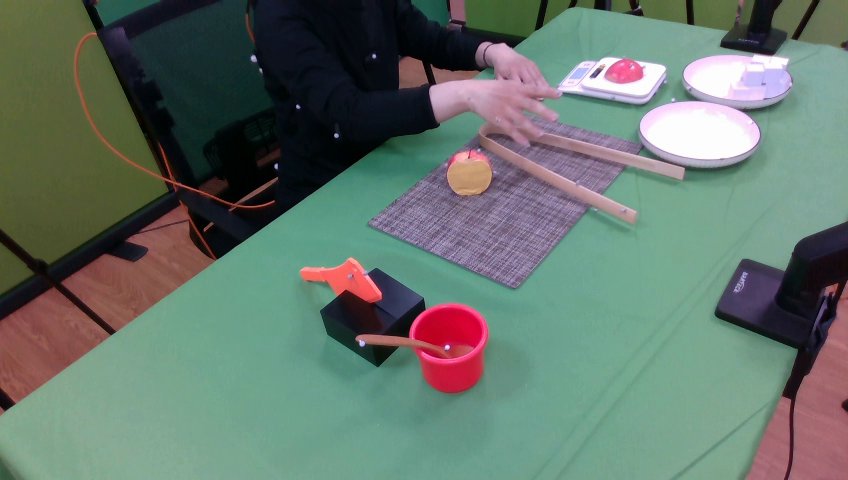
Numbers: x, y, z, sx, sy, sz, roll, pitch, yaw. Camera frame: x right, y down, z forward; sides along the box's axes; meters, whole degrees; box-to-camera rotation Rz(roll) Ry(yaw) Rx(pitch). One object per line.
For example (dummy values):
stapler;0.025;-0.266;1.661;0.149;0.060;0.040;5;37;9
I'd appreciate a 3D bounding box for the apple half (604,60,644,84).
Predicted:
apple half;0.424;-0.362;1.282;0.081;0.033;0.081;-3;40;3

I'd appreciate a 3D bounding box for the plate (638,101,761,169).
plate;0.500;-0.189;1.111;0.209;0.038;0.208;-4;41;4

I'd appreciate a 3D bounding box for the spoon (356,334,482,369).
spoon;-0.001;0.130;0.731;0.195;0.021;0.041;21;28;-39

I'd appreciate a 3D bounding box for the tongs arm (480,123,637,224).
tongs arm;0.228;-0.128;1.080;0.051;0.026;0.381;-33;46;-26

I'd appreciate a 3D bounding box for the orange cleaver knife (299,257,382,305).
orange cleaver knife;-0.124;0.061;0.872;0.012;0.077;0.210;-38;17;-30

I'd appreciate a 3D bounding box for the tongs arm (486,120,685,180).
tongs arm;0.287;-0.171;1.123;0.384;0.028;0.028;21;52;29

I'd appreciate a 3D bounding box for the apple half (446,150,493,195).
apple half;0.080;-0.124;1.065;0.081;0.075;0.053;-7;37;6

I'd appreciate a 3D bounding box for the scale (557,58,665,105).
scale;0.406;-0.348;1.314;0.199;0.032;0.149;19;47;28

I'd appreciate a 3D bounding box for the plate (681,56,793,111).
plate;0.636;-0.317;1.239;0.207;0.039;0.206;-4;40;4
